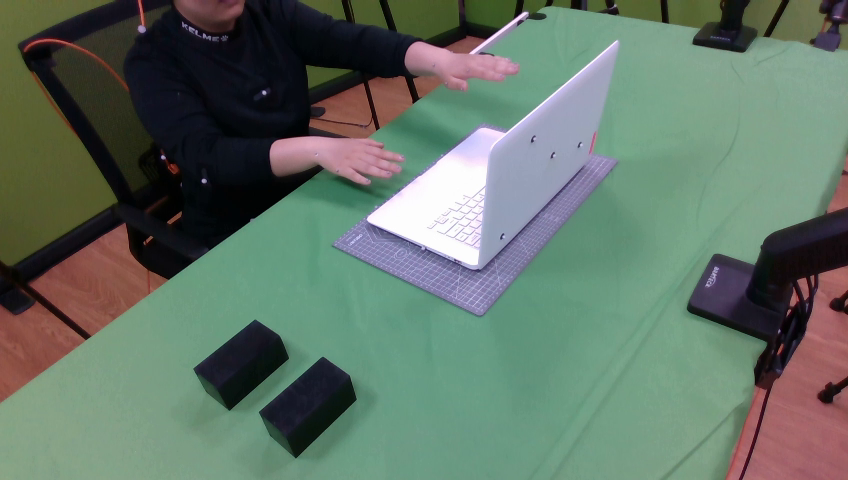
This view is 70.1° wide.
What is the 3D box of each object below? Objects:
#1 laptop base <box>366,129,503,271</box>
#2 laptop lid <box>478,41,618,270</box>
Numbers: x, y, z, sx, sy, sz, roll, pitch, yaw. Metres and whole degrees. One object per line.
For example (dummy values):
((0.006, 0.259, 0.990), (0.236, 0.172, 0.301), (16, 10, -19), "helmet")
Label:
((0.098, -0.085, 1.058), (0.233, 0.023, 0.355), (21, 48, 34), "laptop base")
((0.191, -0.130, 0.912), (0.013, 0.242, 0.358), (29, 50, 26), "laptop lid")
